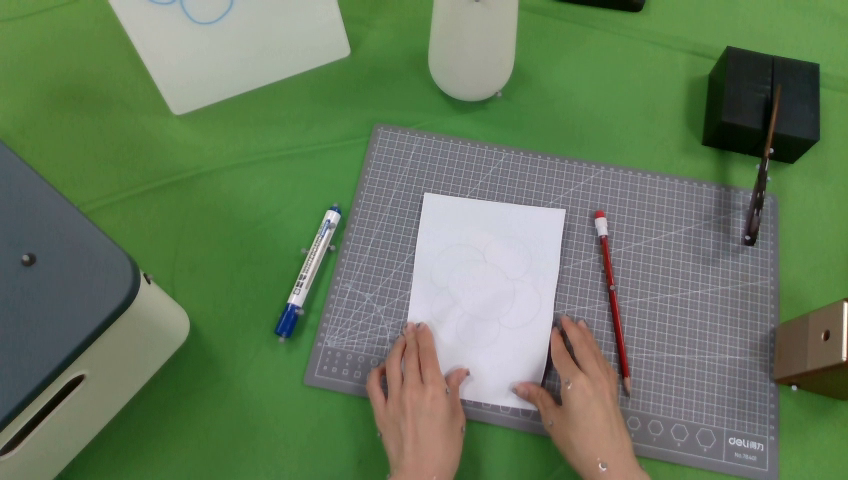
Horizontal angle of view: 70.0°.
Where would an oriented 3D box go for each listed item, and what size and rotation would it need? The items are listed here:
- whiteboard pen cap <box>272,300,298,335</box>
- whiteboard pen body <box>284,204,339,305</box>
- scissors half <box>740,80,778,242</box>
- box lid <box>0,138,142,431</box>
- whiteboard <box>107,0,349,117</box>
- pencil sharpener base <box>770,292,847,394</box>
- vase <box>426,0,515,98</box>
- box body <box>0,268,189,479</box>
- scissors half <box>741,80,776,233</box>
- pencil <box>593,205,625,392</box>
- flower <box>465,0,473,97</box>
[{"bbox_3d":[-0.136,0.076,0.597,0.018,0.018,0.033,16,66,7],"label":"whiteboard pen cap"},{"bbox_3d":[-0.118,0.024,0.619,0.017,0.017,0.140,17,68,7],"label":"whiteboard pen body"},{"bbox_3d":[0.352,-0.083,0.632,0.012,0.040,0.175,11,88,29],"label":"scissors half"},{"bbox_3d":[-0.430,0.013,0.465,0.370,0.015,0.263,37,73,12],"label":"box lid"},{"bbox_3d":[-0.233,-0.324,0.631,0.217,0.308,0.142,-22,51,-8],"label":"whiteboard"},{"bbox_3d":[0.379,0.097,0.546,0.076,0.107,0.061,15,69,2],"label":"pencil sharpener base"},{"bbox_3d":[0.049,-0.237,0.624,0.098,0.201,0.097,0,67,1],"label":"vase"},{"bbox_3d":[-0.428,0.041,0.534,0.362,0.161,0.253,37,73,13],"label":"box body"},{"bbox_3d":[0.343,-0.089,0.614,0.013,0.040,0.174,12,71,24],"label":"scissors half"},{"bbox_3d":[0.188,0.055,0.613,0.012,0.012,0.192,-2,71,-1],"label":"pencil"},{"bbox_3d":[0.045,-0.280,0.552,0.044,0.365,0.038,4,51,5],"label":"flower"}]
